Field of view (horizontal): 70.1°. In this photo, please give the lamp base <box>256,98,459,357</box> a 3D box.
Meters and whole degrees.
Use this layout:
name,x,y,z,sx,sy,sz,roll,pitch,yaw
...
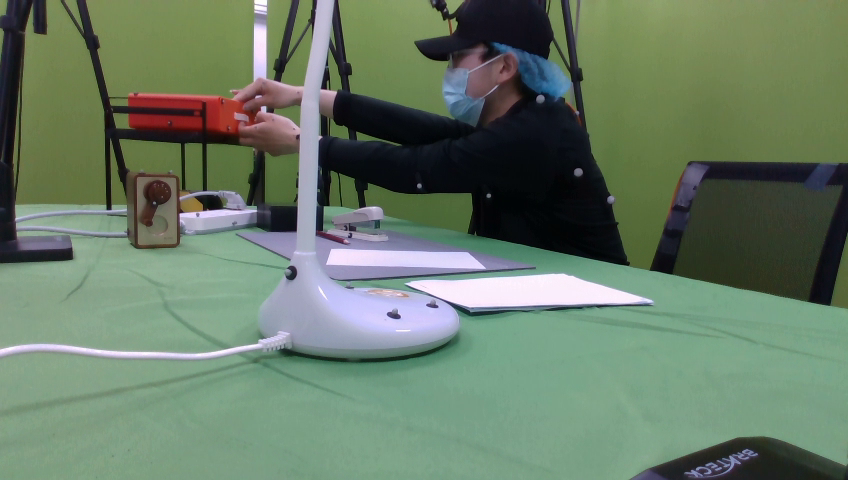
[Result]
name,x,y,z,sx,sy,sz,roll,pitch,yaw
lamp base,-0.055,-0.013,0.463,0.160,0.180,0.180,6,11,27

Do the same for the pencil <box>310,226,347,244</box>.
name,x,y,z,sx,sy,sz,roll,pitch,yaw
pencil,-0.173,-0.010,1.041,0.012,0.012,0.193,-2,10,-31

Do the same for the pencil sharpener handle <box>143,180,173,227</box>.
name,x,y,z,sx,sy,sz,roll,pitch,yaw
pencil sharpener handle,-0.371,-0.050,0.840,0.036,0.067,0.030,24,-5,-34

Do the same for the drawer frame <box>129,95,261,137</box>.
name,x,y,z,sx,sy,sz,roll,pitch,yaw
drawer frame,-0.512,-0.280,1.377,0.213,0.082,0.202,3,8,8

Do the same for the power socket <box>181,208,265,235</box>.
name,x,y,z,sx,sy,sz,roll,pitch,yaw
power socket,-0.381,-0.038,1.129,0.072,0.032,0.227,4,8,17

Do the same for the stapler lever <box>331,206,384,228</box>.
name,x,y,z,sx,sy,sz,roll,pitch,yaw
stapler lever,-0.118,-0.043,1.070,0.117,0.040,0.027,7,8,41

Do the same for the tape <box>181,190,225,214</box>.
name,x,y,z,sx,sy,sz,roll,pitch,yaw
tape,-0.515,-0.087,1.388,0.117,0.052,0.117,3,7,0

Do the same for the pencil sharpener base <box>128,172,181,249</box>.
name,x,y,z,sx,sy,sz,roll,pitch,yaw
pencil sharpener base,-0.395,-0.044,0.887,0.062,0.107,0.076,-2,9,-34

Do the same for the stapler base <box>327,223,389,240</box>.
name,x,y,z,sx,sy,sz,roll,pitch,yaw
stapler base,-0.117,-0.018,1.073,0.130,0.024,0.041,7,8,41

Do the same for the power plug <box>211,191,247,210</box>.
name,x,y,z,sx,sy,sz,roll,pitch,yaw
power plug,-0.386,-0.071,1.204,0.072,0.052,0.035,7,9,27

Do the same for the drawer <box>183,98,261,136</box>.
name,x,y,z,sx,sy,sz,roll,pitch,yaw
drawer,-0.507,-0.278,1.377,0.211,0.073,0.195,2,8,9
